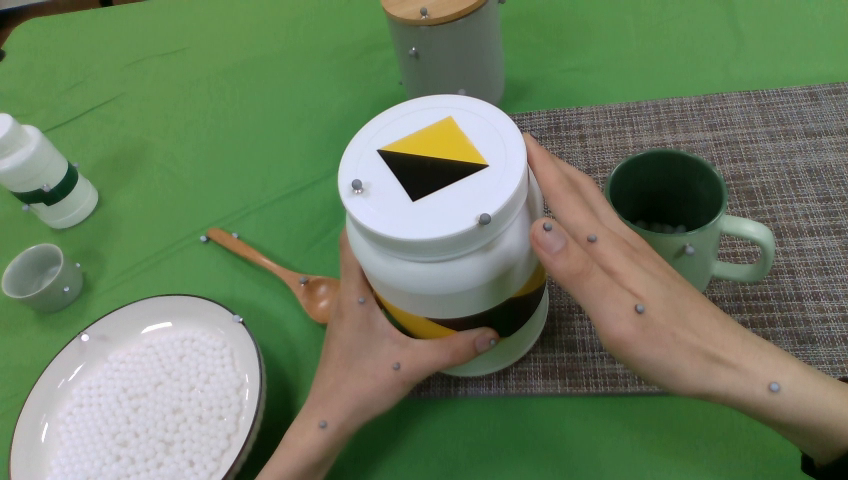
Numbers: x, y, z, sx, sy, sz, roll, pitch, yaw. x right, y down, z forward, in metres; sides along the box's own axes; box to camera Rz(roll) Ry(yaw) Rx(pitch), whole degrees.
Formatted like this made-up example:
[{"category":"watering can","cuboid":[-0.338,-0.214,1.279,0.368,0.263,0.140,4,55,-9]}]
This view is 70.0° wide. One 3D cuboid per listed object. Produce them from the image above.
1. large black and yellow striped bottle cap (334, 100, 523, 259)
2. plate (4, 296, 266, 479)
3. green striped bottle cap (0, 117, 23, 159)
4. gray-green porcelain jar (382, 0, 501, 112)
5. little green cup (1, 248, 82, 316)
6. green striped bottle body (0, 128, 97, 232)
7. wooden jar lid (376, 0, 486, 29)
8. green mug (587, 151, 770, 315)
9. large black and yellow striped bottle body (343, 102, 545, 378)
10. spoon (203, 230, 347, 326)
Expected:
[{"category":"large black and yellow striped bottle cap","cuboid":[0.002,-0.040,0.365,0.115,0.019,0.114,-5,54,8]},{"category":"plate","cuboid":[-0.223,0.143,0.485,0.209,0.038,0.207,-6,55,8]},{"category":"green striped bottle cap","cuboid":[-0.407,-0.096,0.575,0.044,0.020,0.044,-4,56,7]},{"category":"gray-green porcelain jar","cuboid":[0.022,-0.183,0.602,0.106,0.128,0.105,-6,51,8]},{"category":"little green cup","cuboid":[-0.367,0.042,0.586,0.061,0.039,0.061,-6,54,9]},{"category":"green striped bottle body","cuboid":[-0.398,-0.066,0.617,0.063,0.120,0.062,-6,54,9]},{"category":"wooden jar lid","cuboid":[0.010,-0.222,0.554,0.108,0.021,0.107,-8,53,11]},{"category":"green mug","cuboid":[0.186,0.001,0.450,0.124,0.106,0.092,15,60,21]},{"category":"large black and yellow striped bottle body","cuboid":[0.019,0.006,0.432,0.130,0.186,0.129,-6,55,9]},{"category":"spoon","cuboid":[-0.143,0.026,0.559,0.192,0.022,0.041,26,80,26]}]
